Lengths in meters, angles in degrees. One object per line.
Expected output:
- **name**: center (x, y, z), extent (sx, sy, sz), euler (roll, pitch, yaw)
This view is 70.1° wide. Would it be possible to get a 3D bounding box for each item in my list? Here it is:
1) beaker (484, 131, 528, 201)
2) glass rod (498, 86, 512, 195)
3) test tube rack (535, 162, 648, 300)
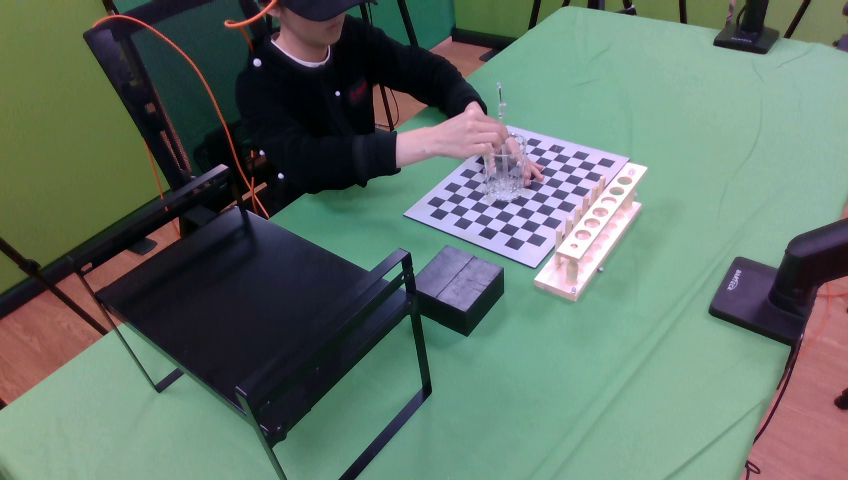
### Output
- **beaker**: center (0.143, -0.126, 1.035), extent (0.073, 0.101, 0.084), euler (25, 50, 32)
- **glass rod**: center (0.134, -0.158, 0.990), extent (0.008, 0.200, 0.008), euler (-7, 36, 6)
- **test tube rack**: center (0.257, -0.024, 0.916), extent (0.066, 0.085, 0.243), euler (22, 49, 30)
